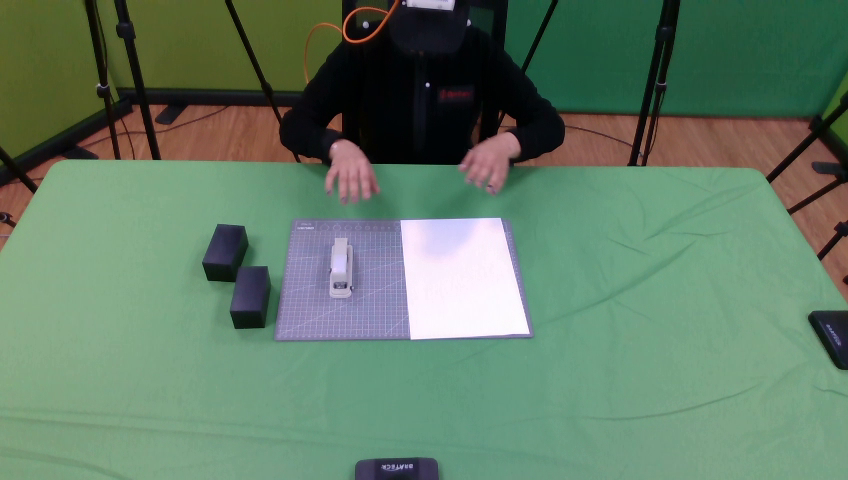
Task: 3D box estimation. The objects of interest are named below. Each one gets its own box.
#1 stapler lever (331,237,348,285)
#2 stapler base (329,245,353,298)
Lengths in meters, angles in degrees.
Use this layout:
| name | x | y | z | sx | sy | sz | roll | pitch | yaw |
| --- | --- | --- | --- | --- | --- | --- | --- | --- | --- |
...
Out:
| name | x | y | z | sx | sy | sz | roll | pitch | yaw |
| --- | --- | --- | --- | --- | --- | --- | --- | --- | --- |
| stapler lever | -0.155 | 0.032 | 1.116 | 0.027 | 0.040 | 0.117 | 1 | 44 | -6 |
| stapler base | -0.155 | 0.051 | 1.133 | 0.041 | 0.024 | 0.129 | 1 | 44 | -6 |
